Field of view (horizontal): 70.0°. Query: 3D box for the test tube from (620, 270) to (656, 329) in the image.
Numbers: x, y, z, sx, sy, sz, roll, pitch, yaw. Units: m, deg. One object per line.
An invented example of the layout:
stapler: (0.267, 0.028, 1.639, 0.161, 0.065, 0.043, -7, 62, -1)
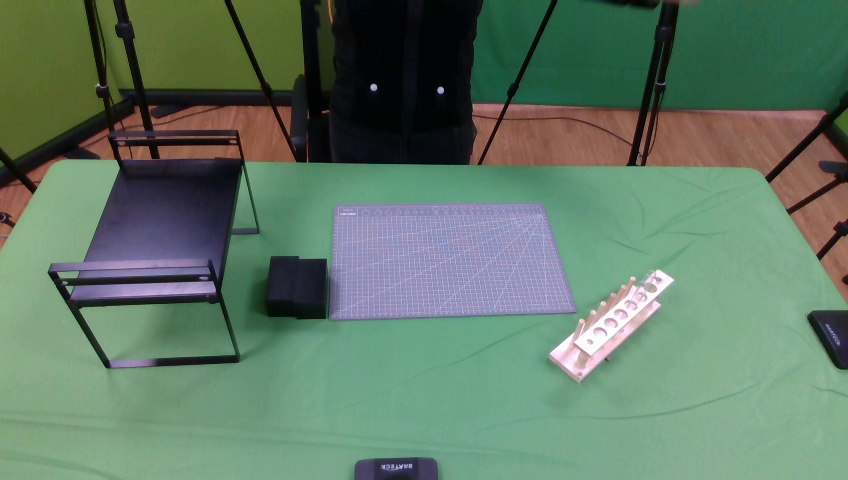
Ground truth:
test tube: (0.352, 0.102, 1.012, 0.017, 0.151, 0.017, 4, 47, -4)

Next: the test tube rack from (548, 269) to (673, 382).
test tube rack: (0.325, 0.134, 1.047, 0.242, 0.085, 0.066, -32, 56, -30)
